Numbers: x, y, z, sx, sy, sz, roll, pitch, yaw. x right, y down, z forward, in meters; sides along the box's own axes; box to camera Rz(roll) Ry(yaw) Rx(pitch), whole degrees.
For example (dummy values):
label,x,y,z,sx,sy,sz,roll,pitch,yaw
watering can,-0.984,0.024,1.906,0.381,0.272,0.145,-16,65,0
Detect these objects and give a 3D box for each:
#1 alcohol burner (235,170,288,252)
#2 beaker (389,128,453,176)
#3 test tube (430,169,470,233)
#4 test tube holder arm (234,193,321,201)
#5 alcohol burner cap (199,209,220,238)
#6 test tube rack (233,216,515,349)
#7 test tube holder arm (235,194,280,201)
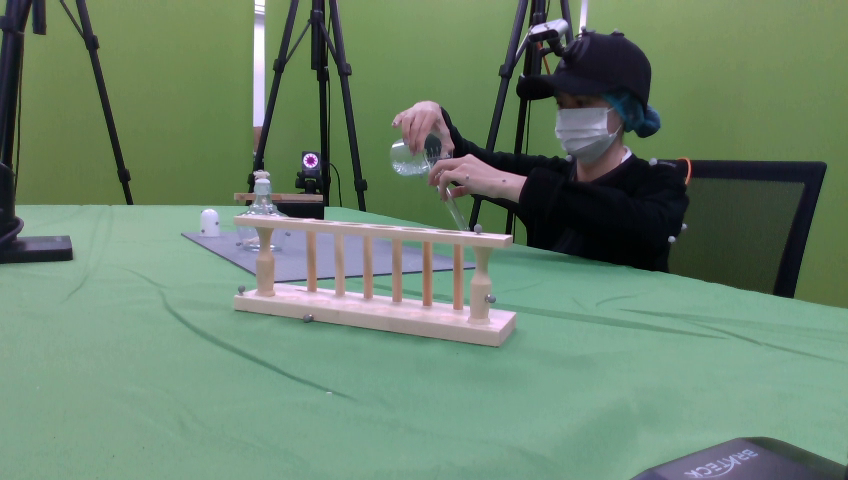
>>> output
label,x,y,z,sx,sy,sz,roll,pitch,yaw
alcohol burner,-0.236,-0.042,0.882,0.078,0.119,0.078,2,9,0
beaker,-0.009,-0.152,1.092,0.074,0.084,0.100,18,-14,-42
test tube,0.042,-0.064,1.009,0.017,0.017,0.149,-1,47,-29
test tube holder arm,-0.299,-0.088,1.248,0.179,0.015,0.013,-1,16,-30
alcohol burner cap,-0.356,-0.027,1.002,0.034,0.048,0.034,2,7,0
test tube rack,-0.045,0.029,0.526,0.241,0.085,0.067,5,8,19
test tube holder arm,-0.336,-0.086,1.221,0.088,0.015,0.010,-1,16,-29
